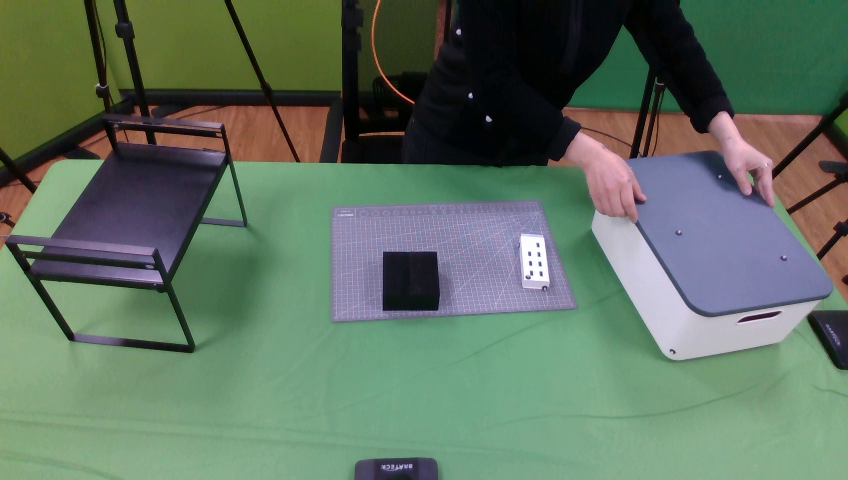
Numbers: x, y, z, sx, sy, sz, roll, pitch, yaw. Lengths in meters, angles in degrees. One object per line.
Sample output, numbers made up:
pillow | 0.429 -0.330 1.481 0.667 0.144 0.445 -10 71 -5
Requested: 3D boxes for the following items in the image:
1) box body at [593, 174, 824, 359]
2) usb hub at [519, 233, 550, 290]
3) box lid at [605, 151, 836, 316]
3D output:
box body | 0.497 0.023 1.111 0.254 0.161 0.361 -8 47 -10
usb hub | 0.212 0.039 1.167 0.049 0.025 0.124 3 45 0
box lid | 0.500 -0.031 1.057 0.264 0.015 0.369 -7 48 -11
